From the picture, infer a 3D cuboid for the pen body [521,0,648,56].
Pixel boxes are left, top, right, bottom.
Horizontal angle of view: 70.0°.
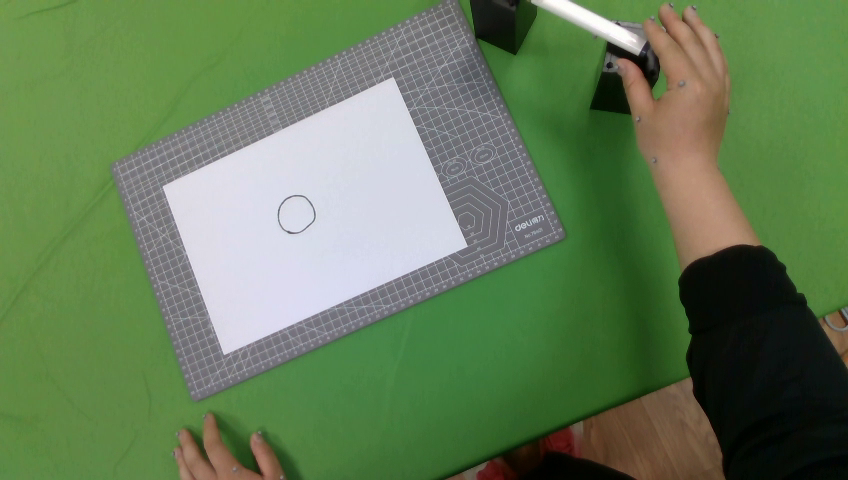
[{"bbox_3d":[0.134,-0.203,0.552,0.143,0.017,0.017,29,89,10],"label":"pen body"}]
